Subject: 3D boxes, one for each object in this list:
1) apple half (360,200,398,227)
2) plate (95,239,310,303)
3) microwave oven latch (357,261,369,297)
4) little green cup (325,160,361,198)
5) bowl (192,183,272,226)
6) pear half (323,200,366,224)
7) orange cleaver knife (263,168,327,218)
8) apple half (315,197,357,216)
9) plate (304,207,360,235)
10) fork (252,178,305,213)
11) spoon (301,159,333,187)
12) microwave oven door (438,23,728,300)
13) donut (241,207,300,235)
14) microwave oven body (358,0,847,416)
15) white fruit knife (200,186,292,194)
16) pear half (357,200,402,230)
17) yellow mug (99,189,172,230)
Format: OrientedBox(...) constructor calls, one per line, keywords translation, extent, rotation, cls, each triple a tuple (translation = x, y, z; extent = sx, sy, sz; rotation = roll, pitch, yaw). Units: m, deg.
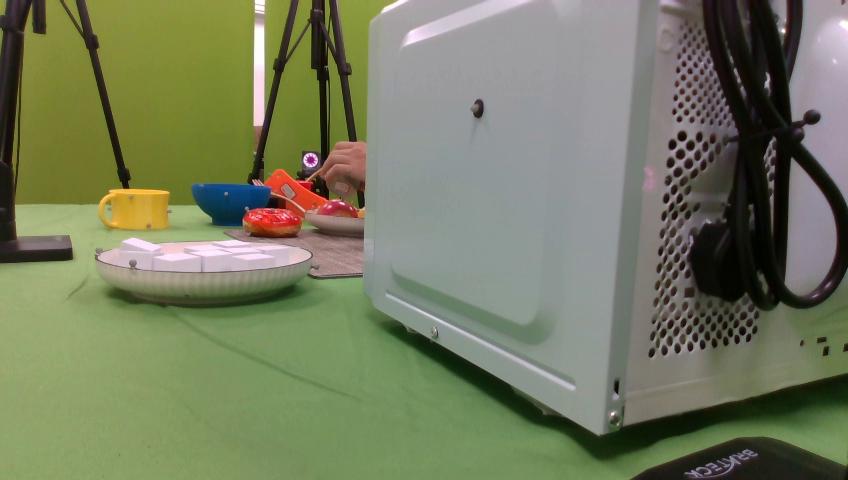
OrientedBox(translation=(-0.087, -0.059, 1.190), extent=(0.081, 0.033, 0.081), rotation=(10, 31, -6), cls="apple half")
OrientedBox(translation=(-0.224, 0.031, 0.629), extent=(0.208, 0.039, 0.207), rotation=(2, 8, 0), cls="plate")
OrientedBox(translation=(-0.019, 0.033, 0.531), extent=(0.079, 0.029, 0.030), rotation=(-1, 7, -27), cls="microwave oven latch")
OrientedBox(translation=(-0.142, -0.105, 1.059), extent=(0.061, 0.062, 0.038), rotation=(5, 51, 20), cls="little green cup")
OrientedBox(translation=(-0.381, -0.071, 1.202), extent=(0.151, 0.077, 0.151), rotation=(3, 7, 0), cls="bowl")
OrientedBox(translation=(-0.155, -0.058, 1.197), extent=(0.088, 0.031, 0.070), rotation=(15, 32, -3), cls="pear half")
OrientedBox(translation=(-0.262, -0.088, 1.353), extent=(0.211, 0.077, 0.012), rotation=(28, 13, -1), cls="orange cleaver knife")
OrientedBox(translation=(-0.162, -0.052, 1.121), extent=(0.081, 0.053, 0.074), rotation=(4, 8, -14), cls="apple half")
OrientedBox(translation=(-0.123, -0.037, 1.149), extent=(0.209, 0.038, 0.209), rotation=(2, 7, 0), cls="plate")
OrientedBox(translation=(-0.295, -0.084, 1.292), extent=(0.206, 0.018, 0.028), rotation=(29, 11, 25), cls="fork")
OrientedBox(translation=(-0.316, -0.159, 1.639), extent=(0.194, 0.022, 0.041), rotation=(-49, 32, -20), cls="spoon")
OrientedBox(translation=(0.181, -0.072, 0.621), extent=(0.358, 0.243, 0.039), rotation=(-2, 8, -29), cls="microwave oven door")
OrientedBox(translation=(-0.263, -0.032, 1.039), extent=(0.099, 0.048, 0.099), rotation=(5, 9, 0), cls="donut")
OrientedBox(translation=(0.211, -0.047, 0.474), extent=(0.444, 0.260, 0.324), rotation=(-1, 7, -28), cls="microwave oven body")
OrientedBox(translation=(-0.399, -0.111, 1.368), extent=(0.208, 0.016, 0.027), rotation=(-4, -19, -30), cls="white fruit knife")
OrientedBox(translation=(-0.075, -0.047, 1.133), extent=(0.076, 0.056, 0.110), rotation=(12, 7, 31), cls="pear half")
OrientedBox(translation=(-0.518, -0.055, 1.080), extent=(0.099, 0.064, 0.131), rotation=(7, 10, 26), cls="yellow mug")
